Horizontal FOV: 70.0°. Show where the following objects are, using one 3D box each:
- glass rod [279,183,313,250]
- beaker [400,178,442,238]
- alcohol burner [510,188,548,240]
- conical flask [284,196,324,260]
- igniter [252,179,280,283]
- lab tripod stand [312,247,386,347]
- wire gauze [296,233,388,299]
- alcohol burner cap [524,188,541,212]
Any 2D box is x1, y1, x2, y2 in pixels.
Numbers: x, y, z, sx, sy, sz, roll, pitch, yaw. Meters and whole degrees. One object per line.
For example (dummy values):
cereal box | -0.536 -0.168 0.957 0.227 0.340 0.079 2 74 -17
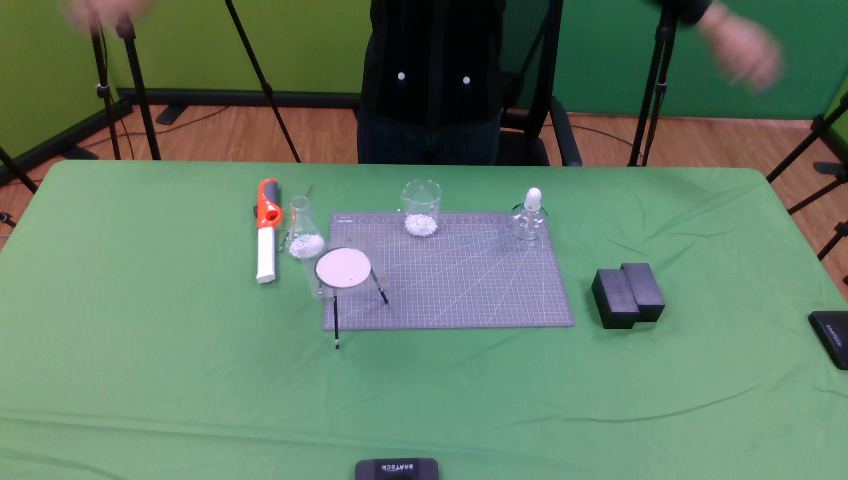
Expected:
glass rod | -0.260 -0.052 1.238 0.008 0.008 0.198 10 47 6
beaker | -0.009 -0.059 1.200 0.084 0.101 0.073 -14 48 -17
alcohol burner | 0.211 -0.057 1.204 0.078 0.120 0.077 1 47 -1
conical flask | -0.230 -0.026 1.137 0.075 0.122 0.075 2 45 -2
igniter | -0.312 -0.027 1.197 0.057 0.025 0.274 -12 47 -1
lab tripod stand | -0.134 0.085 1.028 0.148 0.132 0.147 2 45 -1
wire gauze | -0.133 0.041 0.977 0.125 0.011 0.120 -12 47 -16
alcohol burner cap | 0.212 -0.081 1.177 0.034 0.048 0.033 -2 54 2
